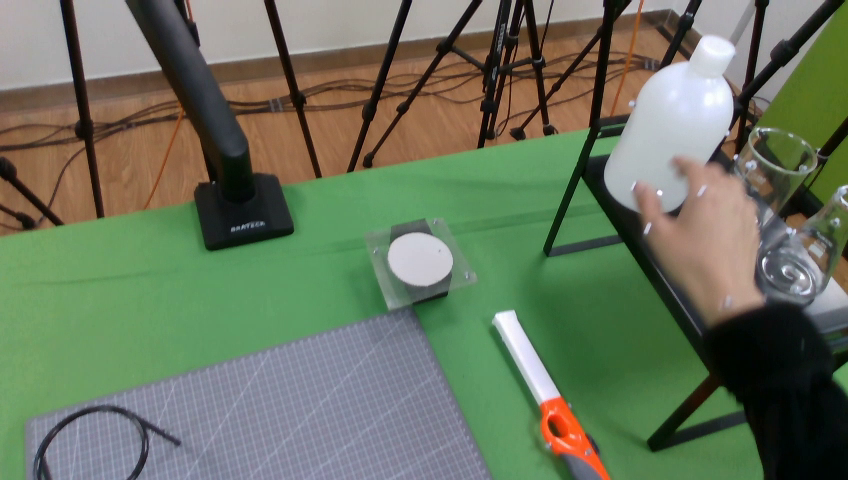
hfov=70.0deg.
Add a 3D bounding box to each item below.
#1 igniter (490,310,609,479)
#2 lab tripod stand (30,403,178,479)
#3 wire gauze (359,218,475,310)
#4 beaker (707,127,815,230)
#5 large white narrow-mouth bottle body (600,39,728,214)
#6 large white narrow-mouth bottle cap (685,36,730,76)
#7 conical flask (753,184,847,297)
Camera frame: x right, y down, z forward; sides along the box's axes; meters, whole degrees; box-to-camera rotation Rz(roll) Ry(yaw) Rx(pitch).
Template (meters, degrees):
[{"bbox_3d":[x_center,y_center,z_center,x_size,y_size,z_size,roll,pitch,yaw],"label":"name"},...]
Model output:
[{"bbox_3d":[0.150,0.199,0.718,0.057,0.025,0.273,-7,51,-27],"label":"igniter"},{"bbox_3d":[-0.287,0.222,0.560,0.149,0.132,0.147,6,50,-6],"label":"lab tripod stand"},{"bbox_3d":[-0.011,0.024,0.788,0.122,0.011,0.123,-13,54,-18],"label":"wire gauze"},{"bbox_3d":[0.377,-0.068,0.691,0.074,0.101,0.083,-8,51,-14],"label":"beaker"},{"bbox_3d":[0.268,-0.125,0.659,0.102,0.196,0.101,4,50,-5],"label":"large white narrow-mouth bottle body"},{"bbox_3d":[0.277,-0.181,0.594,0.038,0.024,0.037,4,50,-5],"label":"large white narrow-mouth bottle cap"},{"bbox_3d":[0.404,-0.002,0.625,0.075,0.123,0.074,4,50,-4],"label":"conical flask"}]
